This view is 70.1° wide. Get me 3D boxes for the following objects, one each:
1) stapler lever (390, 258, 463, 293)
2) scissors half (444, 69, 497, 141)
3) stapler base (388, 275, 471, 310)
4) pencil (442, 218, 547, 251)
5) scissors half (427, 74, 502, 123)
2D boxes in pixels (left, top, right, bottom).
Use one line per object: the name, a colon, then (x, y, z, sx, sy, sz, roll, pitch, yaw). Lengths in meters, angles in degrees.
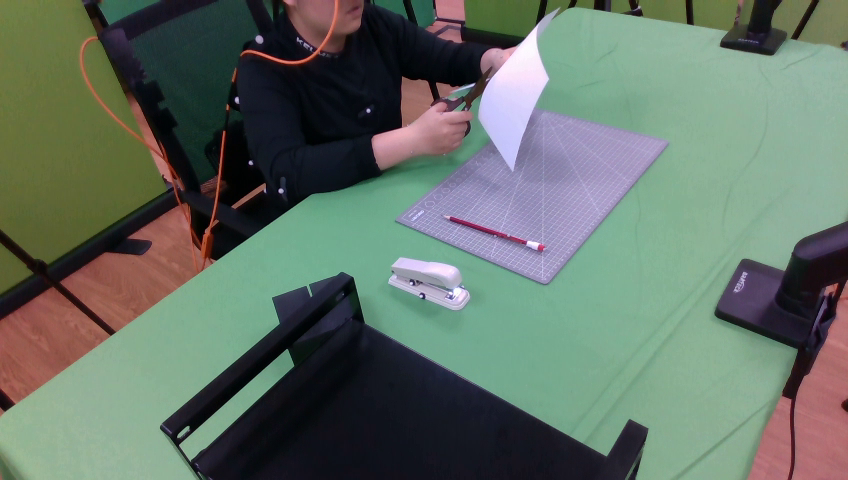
stapler lever: (0.003, 0.046, 0.881, 0.117, 0.040, 0.027, 17, 44, 29)
scissors half: (0.088, -0.245, 1.107, 0.040, 0.175, 0.013, 32, 43, -3)
stapler base: (0.007, 0.066, 0.897, 0.129, 0.024, 0.041, 17, 44, 29)
pencil: (0.110, -0.012, 0.980, 0.192, 0.012, 0.012, 18, 46, 30)
scissors half: (0.072, -0.261, 1.103, 0.174, 0.040, 0.013, -20, 22, 37)
